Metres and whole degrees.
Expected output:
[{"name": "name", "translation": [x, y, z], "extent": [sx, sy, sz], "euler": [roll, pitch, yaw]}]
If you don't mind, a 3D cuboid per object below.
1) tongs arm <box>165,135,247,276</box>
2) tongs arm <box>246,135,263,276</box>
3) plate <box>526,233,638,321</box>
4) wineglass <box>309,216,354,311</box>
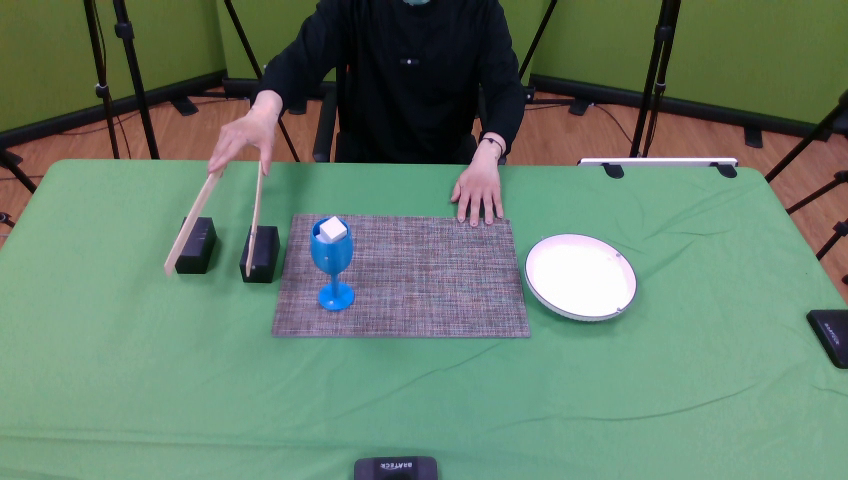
[{"name": "tongs arm", "translation": [-0.393, -0.078, 1.108], "extent": [0.028, 0.028, 0.385], "euler": [1, 42, 5]}, {"name": "tongs arm", "translation": [-0.324, -0.078, 1.113], "extent": [0.051, 0.026, 0.382], "euler": [-3, 43, -5]}, {"name": "plate", "translation": [0.292, 0.071, 1.135], "extent": [0.209, 0.038, 0.208], "euler": [2, 46, -2]}, {"name": "wineglass", "translation": [-0.155, 0.043, 1.032], "extent": [0.074, 0.173, 0.073], "euler": [2, 46, -2]}]
